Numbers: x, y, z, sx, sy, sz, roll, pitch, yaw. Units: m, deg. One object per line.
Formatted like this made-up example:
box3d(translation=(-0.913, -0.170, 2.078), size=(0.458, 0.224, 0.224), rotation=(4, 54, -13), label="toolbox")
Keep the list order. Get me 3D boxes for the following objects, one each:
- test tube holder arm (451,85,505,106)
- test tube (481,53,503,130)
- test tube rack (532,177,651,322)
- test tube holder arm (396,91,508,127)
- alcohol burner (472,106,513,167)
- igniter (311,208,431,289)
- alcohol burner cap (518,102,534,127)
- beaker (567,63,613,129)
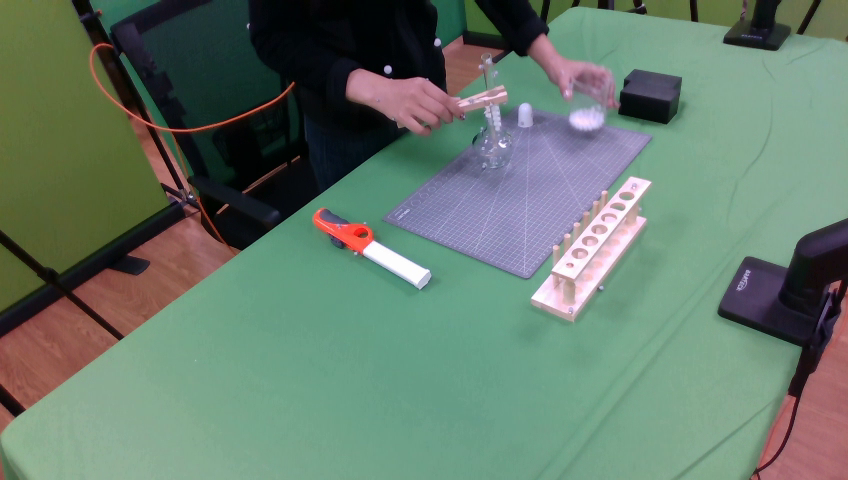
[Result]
box3d(translation=(0.085, -0.223, 0.952), size=(0.088, 0.015, 0.010), rotation=(-20, 53, -1), label="test tube holder arm")
box3d(translation=(0.108, -0.228, 0.946), size=(0.017, 0.151, 0.017), rotation=(-7, 54, 10), label="test tube")
box3d(translation=(0.248, 0.003, 0.883), size=(0.066, 0.085, 0.243), rotation=(22, 49, 32), label="test tube rack")
box3d(translation=(0.043, -0.206, 0.950), size=(0.178, 0.015, 0.013), rotation=(-14, 52, 4), label="test tube holder arm")
box3d(translation=(0.126, -0.194, 1.111), size=(0.078, 0.119, 0.077), rotation=(-5, 42, 5), label="alcohol burner")
box3d(translation=(-0.096, 0.008, 0.985), size=(0.274, 0.025, 0.057), rotation=(28, 62, 36), label="igniter")
box3d(translation=(0.205, -0.255, 1.223), size=(0.034, 0.048, 0.033), rotation=(-6, 41, 6), label="alcohol burner cap")
box3d(translation=(0.301, -0.259, 1.107), size=(0.074, 0.101, 0.083), rotation=(-6, 46, 1), label="beaker")
